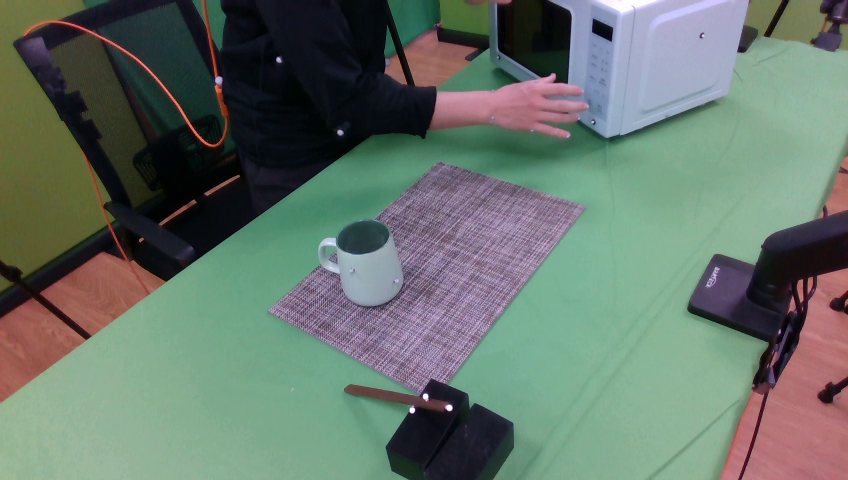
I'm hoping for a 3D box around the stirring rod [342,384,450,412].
[{"bbox_3d":[-0.038,0.186,0.714,0.175,0.006,0.014,-3,22,43],"label":"stirring rod"}]

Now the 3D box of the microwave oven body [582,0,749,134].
[{"bbox_3d":[0.382,-0.445,1.246,0.327,0.261,0.437,-22,42,-16],"label":"microwave oven body"}]

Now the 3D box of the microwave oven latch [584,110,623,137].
[{"bbox_3d":[0.337,-0.222,1.142,0.030,0.029,0.078,-20,42,-14],"label":"microwave oven latch"}]

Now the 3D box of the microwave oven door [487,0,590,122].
[{"bbox_3d":[0.232,-0.420,1.231,0.039,0.245,0.352,-22,42,-16],"label":"microwave oven door"}]

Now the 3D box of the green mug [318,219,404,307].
[{"bbox_3d":[-0.096,0.032,0.876,0.125,0.105,0.092,8,43,17],"label":"green mug"}]
